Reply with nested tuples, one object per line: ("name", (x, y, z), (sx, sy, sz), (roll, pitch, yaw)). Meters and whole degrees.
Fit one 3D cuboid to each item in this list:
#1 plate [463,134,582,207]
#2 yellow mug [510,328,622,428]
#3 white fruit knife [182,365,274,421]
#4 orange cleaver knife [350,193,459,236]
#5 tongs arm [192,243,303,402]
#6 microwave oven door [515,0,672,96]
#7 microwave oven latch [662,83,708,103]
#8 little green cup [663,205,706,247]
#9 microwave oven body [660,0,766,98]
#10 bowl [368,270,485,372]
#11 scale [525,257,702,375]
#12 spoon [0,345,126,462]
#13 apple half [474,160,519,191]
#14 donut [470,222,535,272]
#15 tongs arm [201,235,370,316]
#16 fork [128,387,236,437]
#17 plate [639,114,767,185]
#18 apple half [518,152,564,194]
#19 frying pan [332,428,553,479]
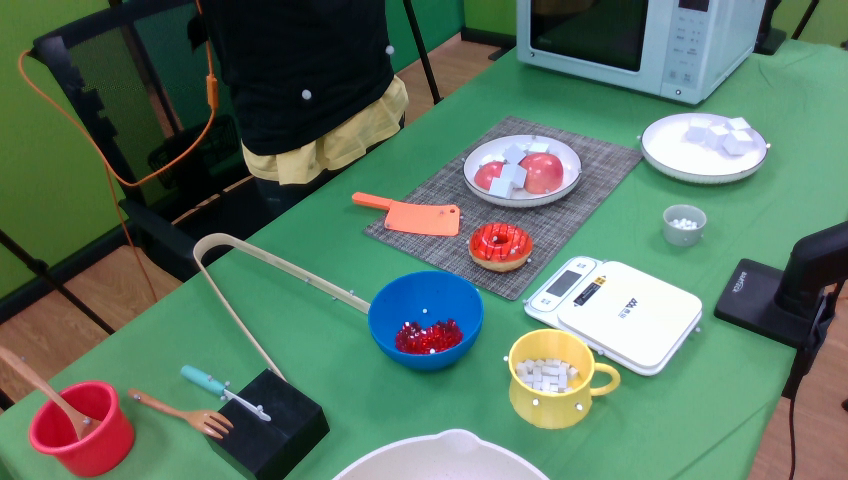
("plate", (0.173, -0.119, 1.070), (0.209, 0.038, 0.208), (-4, 40, 4))
("yellow mug", (0.168, 0.164, 0.722), (0.130, 0.064, 0.099), (0, 40, 8))
("white fruit knife", (-0.245, 0.187, 0.747), (0.205, 0.027, 0.016), (9, 42, 40))
("orange cleaver knife", (-0.037, -0.044, 1.028), (0.210, 0.012, 0.077), (10, 49, 17))
("tongs arm", (-0.267, 0.108, 0.883), (0.028, 0.028, 0.384), (-35, 46, -19))
("microwave oven door", (0.343, -0.454, 1.259), (0.353, 0.245, 0.039), (26, 51, 33))
("microwave oven latch", (0.517, -0.296, 1.204), (0.078, 0.029, 0.030), (28, 52, 35))
("little green cup", (0.396, -0.020, 0.926), (0.061, 0.039, 0.061), (-4, 40, 4))
("microwave oven body", (0.472, -0.513, 1.317), (0.438, 0.261, 0.327), (26, 51, 34))
("bowl", (0.007, 0.118, 0.791), (0.151, 0.077, 0.150), (-5, 40, 4))
("scale", (0.254, 0.091, 0.821), (0.199, 0.032, 0.149), (28, 51, 35))
("spoon", (-0.434, 0.192, 0.720), (0.194, 0.021, 0.042), (47, 54, -7))
("apple half", (0.130, -0.120, 1.068), (0.081, 0.033, 0.081), (-3, 37, 3))
("donut", (0.119, 0.009, 0.923), (0.099, 0.048, 0.098), (-4, 38, 3))
("tongs arm", (-0.209, 0.062, 0.924), (0.381, 0.026, 0.051), (23, 52, 33))
("fork", (-0.305, 0.207, 0.744), (0.206, 0.019, 0.028), (3, 40, 36))
("plate", (0.489, -0.157, 1.074), (0.207, 0.039, 0.206), (-4, 40, 4))
("apple half", (0.204, -0.124, 1.048), (0.075, 0.053, 0.080), (-6, 41, -3))
("frying pan", (-0.089, 0.306, 0.564), (0.487, 0.103, 0.306), (10, 41, 7))
